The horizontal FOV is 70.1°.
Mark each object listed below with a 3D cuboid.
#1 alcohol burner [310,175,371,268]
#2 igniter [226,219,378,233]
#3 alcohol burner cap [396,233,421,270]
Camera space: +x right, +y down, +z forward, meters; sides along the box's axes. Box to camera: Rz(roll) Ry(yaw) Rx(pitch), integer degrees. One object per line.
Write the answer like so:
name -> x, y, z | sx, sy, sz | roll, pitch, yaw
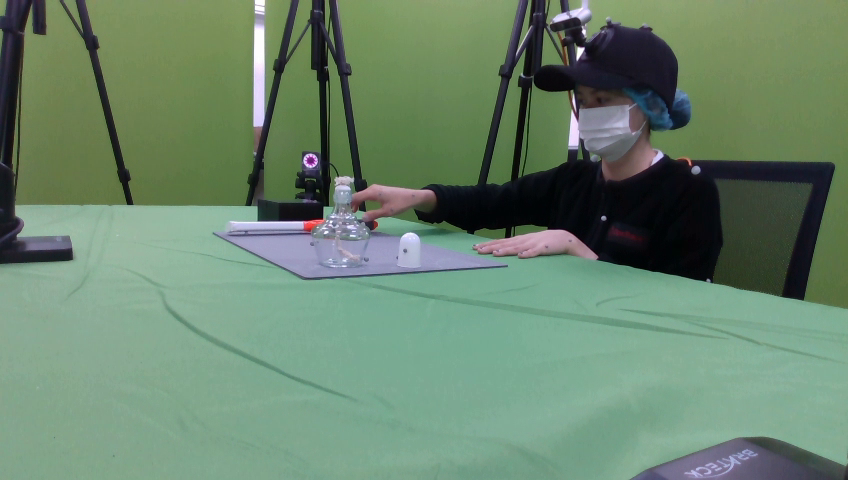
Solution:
alcohol burner -> -0.107, -0.024, 0.778 | 0.078, 0.119, 0.078 | 3, 5, 0
igniter -> -0.213, -0.025, 1.092 | 0.278, 0.025, 0.057 | -2, -2, -32
alcohol burner cap -> -0.020, 0.014, 0.795 | 0.034, 0.048, 0.034 | 2, 6, 0
